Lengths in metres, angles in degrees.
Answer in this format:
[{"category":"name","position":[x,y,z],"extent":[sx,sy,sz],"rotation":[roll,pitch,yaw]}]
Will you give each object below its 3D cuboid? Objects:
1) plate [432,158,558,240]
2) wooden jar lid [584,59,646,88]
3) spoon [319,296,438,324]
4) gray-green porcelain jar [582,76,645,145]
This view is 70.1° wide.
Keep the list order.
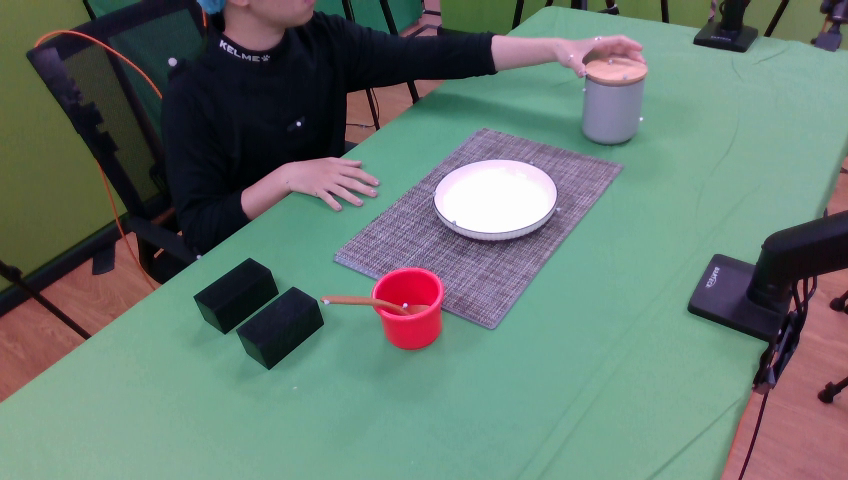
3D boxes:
[{"category":"plate","position":[0.118,-0.066,1.013],"extent":[0.207,0.039,0.206],"rotation":[-4,41,4]},{"category":"wooden jar lid","position":[0.343,-0.298,1.088],"extent":[0.108,0.021,0.108],"rotation":[-3,38,3]},{"category":"spoon","position":[-0.055,0.086,0.784],"extent":[0.195,0.021,0.041],"rotation":[19,19,-44]},{"category":"gray-green porcelain jar","position":[0.351,-0.251,1.131],"extent":[0.106,0.127,0.105],"rotation":[-4,41,4]}]
